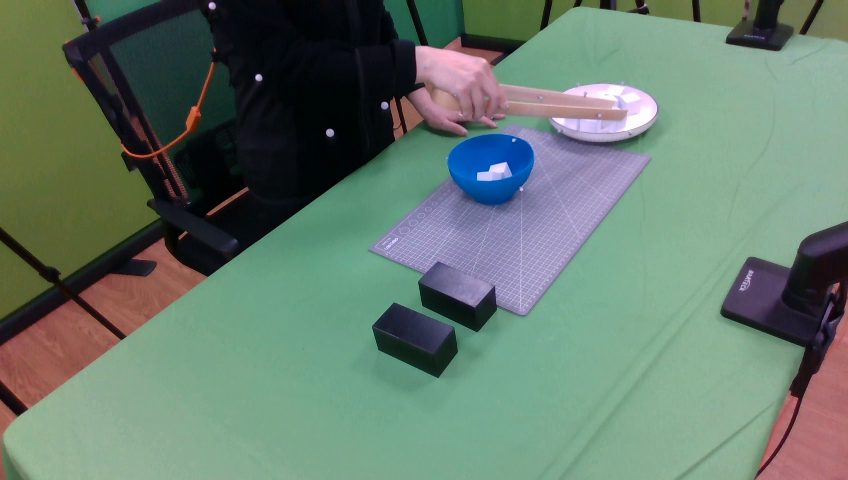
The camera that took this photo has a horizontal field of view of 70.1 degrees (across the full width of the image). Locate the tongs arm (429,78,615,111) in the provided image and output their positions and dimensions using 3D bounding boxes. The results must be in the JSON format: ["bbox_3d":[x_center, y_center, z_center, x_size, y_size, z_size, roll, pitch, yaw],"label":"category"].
[{"bbox_3d":[0.183,-0.239,1.038,0.387,0.026,0.050,2,47,-24],"label":"tongs arm"}]

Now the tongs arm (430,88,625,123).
[{"bbox_3d":[0.191,-0.222,1.023,0.390,0.028,0.028,-2,52,-27],"label":"tongs arm"}]

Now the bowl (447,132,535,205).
[{"bbox_3d":[0.119,-0.115,1.051,0.151,0.077,0.150,-6,40,5],"label":"bowl"}]

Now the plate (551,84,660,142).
[{"bbox_3d":[0.355,-0.246,1.195,0.207,0.039,0.206,-5,39,5],"label":"plate"}]
